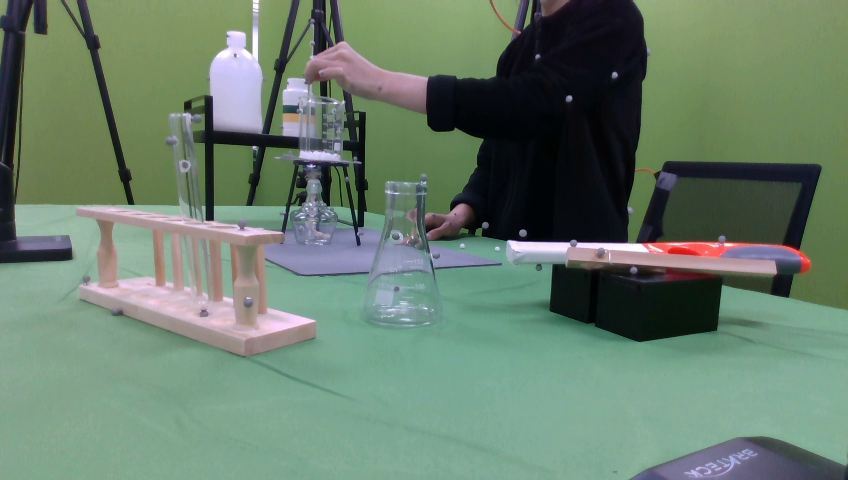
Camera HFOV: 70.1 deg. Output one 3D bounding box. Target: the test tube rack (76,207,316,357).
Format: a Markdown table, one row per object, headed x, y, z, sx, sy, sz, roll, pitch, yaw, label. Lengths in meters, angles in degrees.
| x | y | z | sx | sy | sz | roll | pitch | yaw | label |
| --- | --- | --- | --- | --- | --- | --- | --- | --- | --- |
| -0.196 | 0.023 | 0.499 | 0.241 | 0.085 | 0.067 | 8 | 9 | 36 | test tube rack |

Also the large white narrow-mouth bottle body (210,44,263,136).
| x | y | z | sx | sy | sz | roll | pitch | yaw | label |
| --- | --- | --- | --- | --- | --- | --- | --- | --- | --- |
| -0.369 | -0.305 | 1.194 | 0.102 | 0.194 | 0.102 | 3 | 8 | 0 | large white narrow-mouth bottle body |

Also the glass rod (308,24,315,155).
| x | y | z | sx | sy | sz | roll | pitch | yaw | label |
| --- | --- | --- | --- | --- | --- | --- | --- | --- | --- |
| -0.176 | -0.233 | 0.944 | 0.008 | 0.199 | 0.008 | 3 | 10 | 0 | glass rod |

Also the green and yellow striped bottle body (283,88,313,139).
| x | y | z | sx | sy | sz | roll | pitch | yaw | label |
| --- | --- | --- | --- | --- | --- | --- | --- | --- | --- |
| -0.265 | -0.275 | 1.275 | 0.063 | 0.119 | 0.063 | 3 | 7 | 0 | green and yellow striped bottle body |

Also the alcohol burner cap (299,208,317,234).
| x | y | z | sx | sy | sz | roll | pitch | yaw | label |
| --- | --- | --- | --- | --- | --- | --- | --- | --- | --- |
| -0.213 | -0.035 | 1.109 | 0.034 | 0.048 | 0.034 | 2 | 7 | 0 | alcohol burner cap |

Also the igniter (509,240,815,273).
| x | y | z | sx | sy | sz | roll | pitch | yaw | label |
| --- | --- | --- | --- | --- | --- | --- | --- | --- | --- |
| 0.220 | 0.015 | 0.566 | 0.277 | 0.025 | 0.057 | 2 | 16 | 0 | igniter |

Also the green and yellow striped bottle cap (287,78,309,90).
| x | y | z | sx | sy | sz | roll | pitch | yaw | label |
| --- | --- | --- | --- | --- | --- | --- | --- | --- | --- |
| -0.265 | -0.326 | 1.268 | 0.045 | 0.020 | 0.045 | 4 | 6 | 0 | green and yellow striped bottle cap |

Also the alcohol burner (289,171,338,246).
| x | y | z | sx | sy | sz | roll | pitch | yaw | label |
| --- | --- | --- | --- | --- | --- | --- | --- | --- | --- |
| -0.177 | -0.051 | 0.968 | 0.078 | 0.119 | 0.078 | 1 | 6 | 0 | alcohol burner |

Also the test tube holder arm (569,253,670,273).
| x | y | z | sx | sy | sz | roll | pitch | yaw | label |
| --- | --- | --- | --- | --- | --- | --- | --- | --- | --- |
| 0.172 | 0.019 | 0.532 | 0.088 | 0.015 | 0.010 | 3 | -23 | 3 | test tube holder arm |

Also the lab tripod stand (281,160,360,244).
| x | y | z | sx | sy | sz | roll | pitch | yaw | label |
| --- | --- | --- | --- | --- | --- | --- | --- | --- | --- |
| -0.170 | -0.063 | 0.983 | 0.148 | 0.131 | 0.148 | 1 | 6 | 0 | lab tripod stand |

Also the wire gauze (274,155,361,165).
| x | y | z | sx | sy | sz | roll | pitch | yaw | label |
| --- | --- | --- | --- | --- | --- | --- | --- | --- | --- |
| -0.174 | -0.129 | 0.978 | 0.125 | 0.011 | 0.121 | -2 | 6 | -19 | wire gauze |

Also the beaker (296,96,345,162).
| x | y | z | sx | sy | sz | roll | pitch | yaw | label |
| --- | --- | --- | --- | --- | --- | --- | --- | --- | --- |
| -0.163 | -0.175 | 0.966 | 0.083 | 0.100 | 0.074 | 7 | 8 | 34 | beaker |

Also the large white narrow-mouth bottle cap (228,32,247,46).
| x | y | z | sx | sy | sz | roll | pitch | yaw | label |
| --- | --- | --- | --- | --- | --- | --- | --- | --- | --- |
| -0.364 | -0.390 | 1.180 | 0.038 | 0.024 | 0.037 | 3 | 8 | 0 | large white narrow-mouth bottle cap |

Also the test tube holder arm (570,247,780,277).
| x | y | z | sx | sy | sz | roll | pitch | yaw | label |
| --- | --- | --- | --- | --- | --- | --- | --- | --- | --- |
| 0.217 | 0.020 | 0.525 | 0.178 | 0.015 | 0.013 | 3 | -23 | 3 | test tube holder arm |

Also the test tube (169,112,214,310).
| x | y | z | sx | sy | sz | roll | pitch | yaw | label |
| --- | --- | --- | --- | --- | --- | --- | --- | --- | --- |
| -0.175 | -0.020 | 0.456 | 0.017 | 0.150 | 0.017 | -3 | 10 | 1 | test tube |

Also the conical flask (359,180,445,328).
| x | y | z | sx | sy | sz | roll | pitch | yaw | label |
| --- | --- | --- | --- | --- | --- | --- | --- | --- | --- |
| -0.017 | 0.010 | 0.522 | 0.075 | 0.122 | 0.075 | 2 | 7 | 0 | conical flask |
